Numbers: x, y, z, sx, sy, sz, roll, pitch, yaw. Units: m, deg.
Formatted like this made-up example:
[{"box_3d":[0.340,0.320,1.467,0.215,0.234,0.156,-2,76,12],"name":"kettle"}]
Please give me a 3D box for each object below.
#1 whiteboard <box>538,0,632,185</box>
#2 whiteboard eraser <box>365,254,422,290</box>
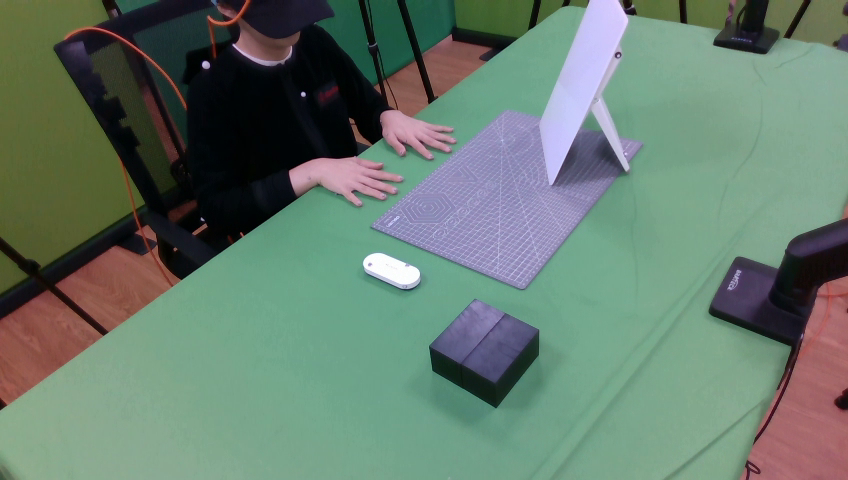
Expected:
[{"box_3d":[0.327,-0.259,1.055,0.144,0.306,0.216,13,40,-6],"name":"whiteboard"},{"box_3d":[-0.047,0.048,0.931,0.100,0.019,0.041,21,49,31],"name":"whiteboard eraser"}]
